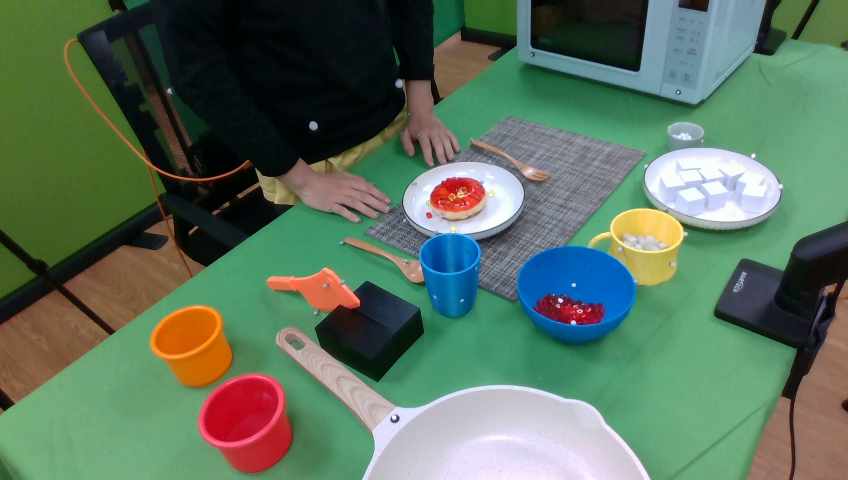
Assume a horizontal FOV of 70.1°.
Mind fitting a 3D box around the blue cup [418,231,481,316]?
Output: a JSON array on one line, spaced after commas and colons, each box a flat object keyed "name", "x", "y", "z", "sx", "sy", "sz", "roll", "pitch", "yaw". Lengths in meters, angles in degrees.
[{"name": "blue cup", "x": 0.040, "y": 0.053, "z": 0.843, "sx": 0.092, "sy": 0.100, "sz": 0.092, "roll": -4, "pitch": 43, "yaw": 4}]

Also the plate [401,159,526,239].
[{"name": "plate", "x": 0.067, "y": -0.065, "z": 1.019, "sx": 0.209, "sy": 0.038, "sz": 0.208, "roll": -4, "pitch": 40, "yaw": 4}]

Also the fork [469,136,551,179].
[{"name": "fork", "x": 0.154, "y": -0.156, "z": 1.126, "sx": 0.028, "sy": 0.019, "sz": 0.205, "roll": -40, "pitch": 51, "yaw": -16}]

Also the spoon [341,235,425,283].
[{"name": "spoon", "x": -0.061, "y": 0.023, "z": 0.953, "sx": 0.192, "sy": 0.022, "sz": 0.041, "roll": 24, "pitch": 69, "yaw": 31}]

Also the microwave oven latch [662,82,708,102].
[{"name": "microwave oven latch", "x": 0.518, "y": -0.298, "z": 1.202, "sx": 0.078, "sy": 0.029, "sz": 0.030, "roll": 28, "pitch": 53, "yaw": 35}]

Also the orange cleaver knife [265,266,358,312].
[{"name": "orange cleaver knife", "x": -0.164, "y": 0.073, "z": 0.864, "sx": 0.210, "sy": 0.077, "sz": 0.012, "roll": -6, "pitch": 31, "yaw": 50}]

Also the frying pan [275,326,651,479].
[{"name": "frying pan", "x": 0.004, "y": 0.229, "z": 0.641, "sx": 0.484, "sy": 0.103, "sz": 0.308, "roll": 34, "pitch": 54, "yaw": 28}]

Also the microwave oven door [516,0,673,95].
[{"name": "microwave oven door", "x": 0.344, "y": -0.458, "z": 1.256, "sx": 0.353, "sy": 0.245, "sz": 0.039, "roll": 26, "pitch": 51, "yaw": 33}]

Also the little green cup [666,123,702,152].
[{"name": "little green cup", "x": 0.472, "y": -0.183, "z": 1.102, "sx": 0.061, "sy": 0.039, "sz": 0.061, "roll": -5, "pitch": 39, "yaw": 4}]

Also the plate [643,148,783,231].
[{"name": "plate", "x": 0.464, "y": -0.080, "z": 0.985, "sx": 0.207, "sy": 0.039, "sz": 0.206, "roll": -4, "pitch": 41, "yaw": 4}]

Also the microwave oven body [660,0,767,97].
[{"name": "microwave oven body", "x": 0.473, "y": -0.516, "z": 1.313, "sx": 0.438, "sy": 0.261, "sz": 0.327, "roll": 26, "pitch": 51, "yaw": 34}]

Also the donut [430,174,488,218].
[{"name": "donut", "x": 0.058, "y": -0.076, "z": 1.015, "sx": 0.099, "sy": 0.048, "sz": 0.098, "roll": -6, "pitch": 38, "yaw": 5}]

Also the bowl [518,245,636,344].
[{"name": "bowl", "x": 0.200, "y": 0.084, "z": 0.803, "sx": 0.151, "sy": 0.077, "sz": 0.150, "roll": -4, "pitch": 40, "yaw": 4}]

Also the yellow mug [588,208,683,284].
[{"name": "yellow mug", "x": 0.305, "y": 0.009, "z": 0.884, "sx": 0.131, "sy": 0.064, "sz": 0.099, "roll": -4, "pitch": 40, "yaw": 5}]
